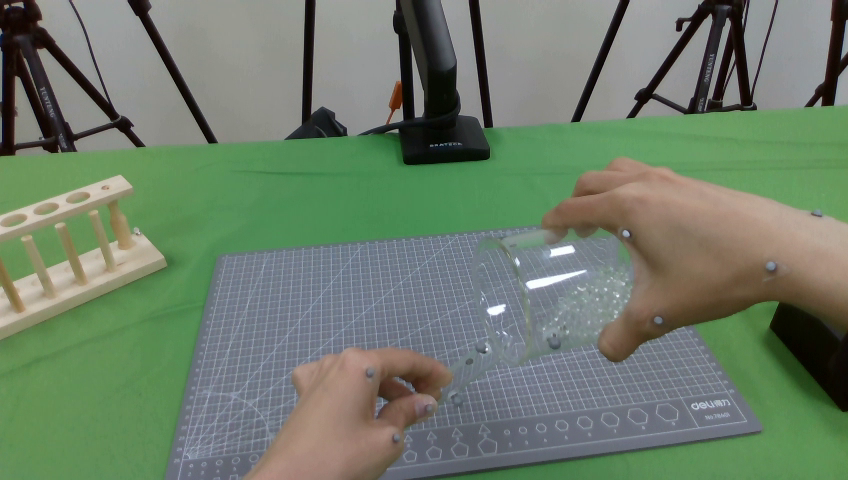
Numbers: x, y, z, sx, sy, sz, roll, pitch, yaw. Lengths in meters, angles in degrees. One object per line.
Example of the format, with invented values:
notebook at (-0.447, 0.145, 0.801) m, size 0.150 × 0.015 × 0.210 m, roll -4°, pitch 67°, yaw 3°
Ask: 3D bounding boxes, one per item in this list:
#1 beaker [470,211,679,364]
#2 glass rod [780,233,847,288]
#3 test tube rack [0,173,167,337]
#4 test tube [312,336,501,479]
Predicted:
beaker at (0.086, 0.026, 0.352) m, size 0.100 × 0.084 × 0.073 m, roll -11°, pitch 43°, yaw -15°
glass rod at (0.373, 0.049, 0.506) m, size 0.008 × 0.008 × 0.197 m, roll -11°, pitch 37°, yaw -13°
test tube rack at (-0.384, 0.026, 0.571) m, size 0.242 × 0.086 × 0.066 m, roll -28°, pitch 45°, yaw -32°
test tube at (-0.014, 0.109, 0.379) m, size 0.150 × 0.017 × 0.017 m, roll -39°, pitch 36°, yaw 13°
